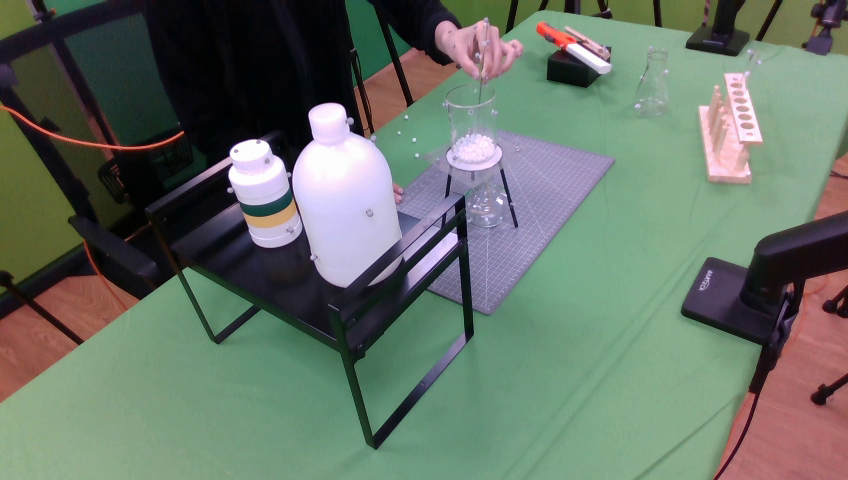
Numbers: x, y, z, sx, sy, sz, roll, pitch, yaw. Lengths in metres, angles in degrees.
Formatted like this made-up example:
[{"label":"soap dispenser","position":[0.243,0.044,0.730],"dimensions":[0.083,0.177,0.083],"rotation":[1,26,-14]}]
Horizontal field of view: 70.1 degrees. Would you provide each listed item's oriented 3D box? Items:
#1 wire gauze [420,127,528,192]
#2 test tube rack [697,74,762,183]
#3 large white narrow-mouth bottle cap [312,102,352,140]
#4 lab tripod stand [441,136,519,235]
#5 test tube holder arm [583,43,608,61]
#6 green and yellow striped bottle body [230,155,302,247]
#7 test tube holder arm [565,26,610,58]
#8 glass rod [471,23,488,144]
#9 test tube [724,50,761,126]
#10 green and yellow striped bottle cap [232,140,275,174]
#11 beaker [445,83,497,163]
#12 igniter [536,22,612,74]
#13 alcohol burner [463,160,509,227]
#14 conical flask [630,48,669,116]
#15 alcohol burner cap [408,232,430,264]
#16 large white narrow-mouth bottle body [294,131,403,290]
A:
[{"label":"wire gauze","position":[0.076,-0.131,0.927],"dimensions":[0.122,0.011,0.124],"rotation":[-35,49,-25]},{"label":"test tube rack","position":[0.547,-0.208,1.095],"dimensions":[0.066,0.085,0.242],"rotation":[5,42,15]},{"label":"large white narrow-mouth bottle cap","position":[-0.088,-0.114,0.579],"dimensions":[0.038,0.024,0.037],"rotation":[-3,39,3]},{"label":"lab tripod stand","position":[0.083,-0.086,0.976],"dimensions":[0.148,0.132,0.147],"rotation":[-4,42,4]},{"label":"test tube holder arm","position":[0.379,-0.420,1.341],"dimensions":[0.010,0.015,0.087],"rotation":[-39,41,10]},{"label":"green and yellow striped bottle body","position":[-0.188,-0.055,0.714],"dimensions":[0.063,0.120,0.063],"rotation":[-4,41,4]},{"label":"test tube holder arm","position":[0.369,-0.451,1.373],"dimensions":[0.013,0.015,0.177],"rotation":[-39,41,10]},{"label":"glass rod","position":[0.080,-0.220,0.876],"dimensions":[0.008,0.200,0.008],"rotation":[1,47,-1]},{"label":"test tube","position":[0.570,-0.269,1.086],"dimensions":[0.017,0.151,0.017],"rotation":[-1,45,1]},{"label":"green and yellow striped bottle cap","position":[-0.192,-0.093,0.680],"dimensions":[0.045,0.020,0.045],"rotation":[-5,39,5]},{"label":"beaker","position":[0.073,-0.175,0.905],"dimensions":[0.074,0.101,0.084],"rotation":[3,41,13]},{"label":"igniter","position":[0.330,-0.438,1.366],"dimensions":[0.057,0.025,0.274],"rotation":[-11,41,-19]},{"label":"alcohol burner","position":[0.102,-0.081,0.982],"dimensions":[0.078,0.119,0.077],"rotation":[-4,43,4]},{"label":"conical flask","position":[0.457,-0.317,1.205],"dimensions":[0.075,0.122,0.075],"rotation":[-4,41,4]},{"label":"alcohol burner cap","position":[-0.009,0.010,0.947],"dimensions":[0.034,0.048,0.033],"rotation":[-4,41,4]},{"label":"large white narrow-mouth bottle body","position":[-0.082,-0.047,0.634],"dimensions":[0.102,0.195,0.101],"rotation":[-4,39,4]}]
